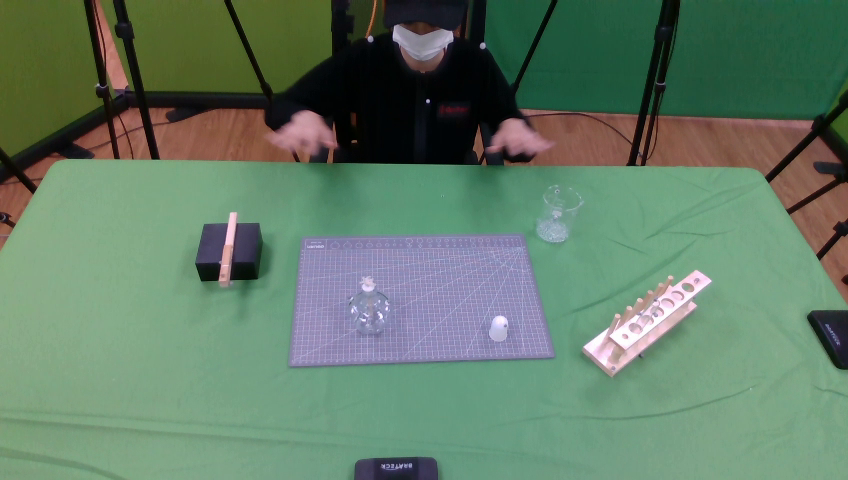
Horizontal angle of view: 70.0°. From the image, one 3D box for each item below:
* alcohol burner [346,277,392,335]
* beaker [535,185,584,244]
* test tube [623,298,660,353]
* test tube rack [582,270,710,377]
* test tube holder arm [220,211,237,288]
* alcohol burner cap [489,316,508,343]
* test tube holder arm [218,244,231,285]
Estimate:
[{"bbox_3d":[-0.093,0.106,1.021,0.078,0.120,0.077,1,46,-1],"label":"alcohol burner"},{"bbox_3d":[0.268,-0.048,1.213,0.084,0.101,0.073,6,46,0],"label":"beaker"},{"bbox_3d":[0.344,0.140,0.976,0.017,0.151,0.017,3,50,-4],"label":"test tube"},{"bbox_3d":[0.389,0.132,1.057,0.242,0.085,0.066,-28,54,-28],"label":"test tube rack"},{"bbox_3d":[-0.353,0.013,1.093,0.015,0.013,0.177,-4,47,-6],"label":"test tube holder arm"},{"bbox_3d":[0.130,0.151,1.045,0.034,0.048,0.033,2,46,-2],"label":"alcohol burner cap"},{"bbox_3d":[-0.347,0.042,1.058,0.015,0.010,0.087,-4,46,-6],"label":"test tube holder arm"}]
